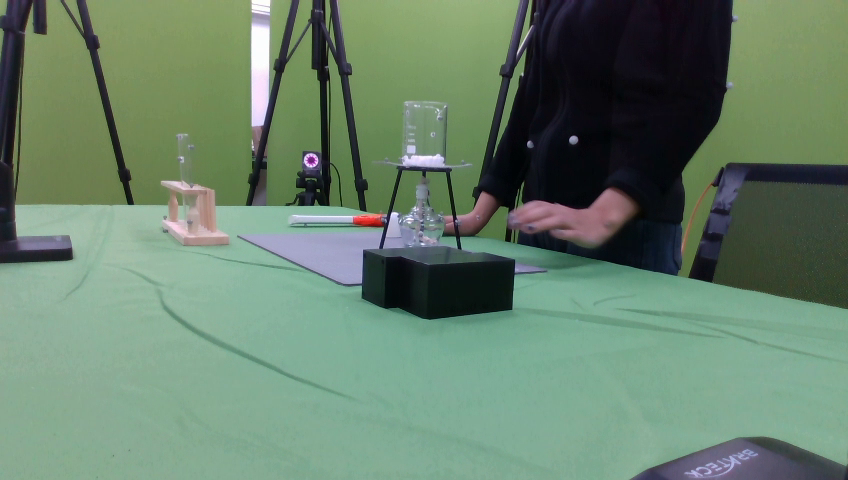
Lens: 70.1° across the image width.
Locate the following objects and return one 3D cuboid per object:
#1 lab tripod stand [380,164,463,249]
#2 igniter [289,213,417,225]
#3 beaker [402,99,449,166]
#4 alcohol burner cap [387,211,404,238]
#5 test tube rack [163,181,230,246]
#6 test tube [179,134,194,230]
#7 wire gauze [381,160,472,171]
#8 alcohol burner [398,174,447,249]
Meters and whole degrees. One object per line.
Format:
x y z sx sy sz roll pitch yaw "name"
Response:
-0.003 -0.055 0.967 0.148 0.131 0.148 2 9 0 "lab tripod stand"
-0.144 -0.044 1.275 0.278 0.025 0.057 -1 -2 -27 "igniter"
0.003 -0.168 0.957 0.073 0.100 0.084 8 11 35 "beaker"
-0.053 -0.029 1.107 0.034 0.048 0.034 2 9 0 "alcohol burner cap"
-0.387 -0.050 1.015 0.067 0.085 0.241 -2 9 -30 "test tube rack"
-0.366 -0.089 0.938 0.017 0.150 0.017 -1 9 1 "test tube"
-0.004 -0.120 0.959 0.122 0.011 0.124 -5 13 -33 "wire gauze"
-0.002 -0.046 0.973 0.078 0.119 0.078 0 7 0 "alcohol burner"
